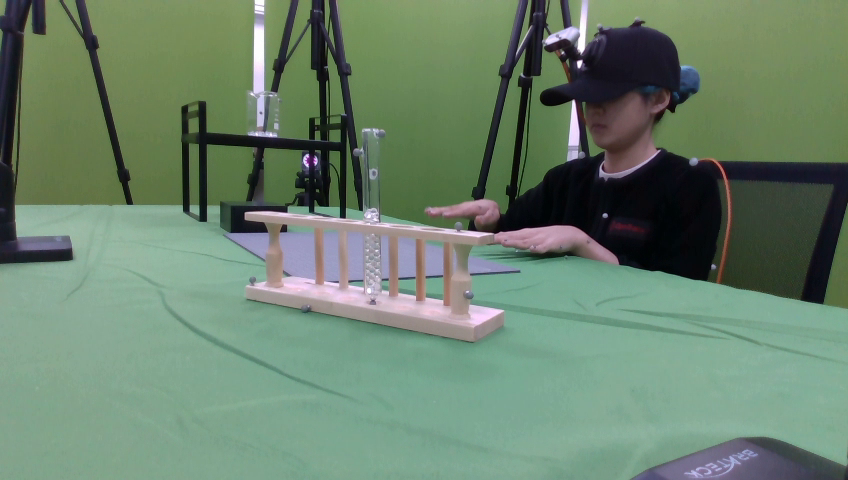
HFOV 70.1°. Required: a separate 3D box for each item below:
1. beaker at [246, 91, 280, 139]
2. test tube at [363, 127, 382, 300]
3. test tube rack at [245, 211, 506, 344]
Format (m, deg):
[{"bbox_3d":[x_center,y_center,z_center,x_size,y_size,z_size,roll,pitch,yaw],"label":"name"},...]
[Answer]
[{"bbox_3d":[-0.361,-0.279,1.351,0.074,0.100,0.084,3,8,1],"label":"beaker"},{"bbox_3d":[-0.044,-0.022,0.524,0.017,0.150,0.017,0,6,0],"label":"test tube"},{"bbox_3d":[-0.049,0.025,0.547,0.241,0.085,0.067,7,8,28],"label":"test tube rack"}]
